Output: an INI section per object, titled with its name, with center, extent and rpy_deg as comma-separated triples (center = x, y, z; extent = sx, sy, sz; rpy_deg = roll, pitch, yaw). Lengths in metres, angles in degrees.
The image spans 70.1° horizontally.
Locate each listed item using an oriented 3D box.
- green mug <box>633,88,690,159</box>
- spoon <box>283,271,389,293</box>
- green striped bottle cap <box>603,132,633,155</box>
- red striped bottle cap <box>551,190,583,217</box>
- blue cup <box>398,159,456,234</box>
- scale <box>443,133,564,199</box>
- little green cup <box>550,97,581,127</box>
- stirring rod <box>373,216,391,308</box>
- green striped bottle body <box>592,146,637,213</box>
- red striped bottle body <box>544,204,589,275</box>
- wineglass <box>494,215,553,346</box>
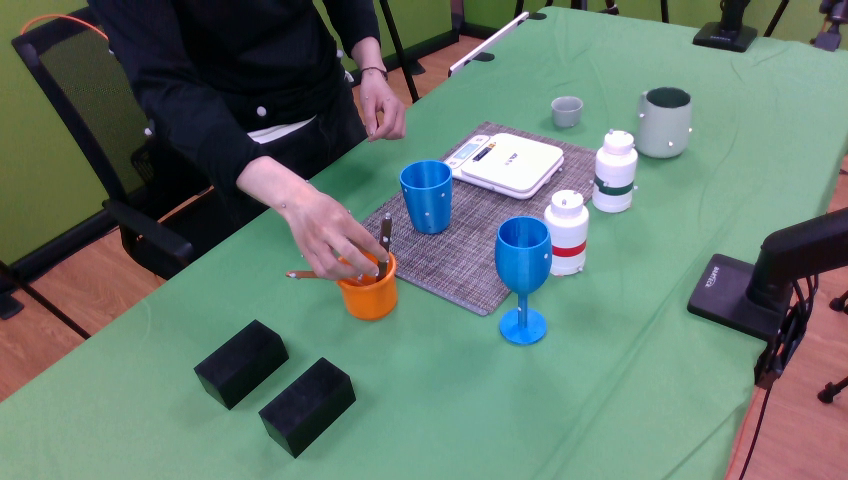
[green mug]
center = 0.423, -0.217, 1.099
extent = 0.093, 0.105, 0.124
rpy_deg = -16, 41, -9
[spoon]
center = -0.116, 0.054, 0.824
extent = 0.041, 0.195, 0.021
rpy_deg = 24, 93, 37
[green striped bottle cap]
center = 0.302, -0.149, 0.939
extent = 0.044, 0.020, 0.044
rpy_deg = -3, 40, 3
[red striped bottle cap]
center = 0.199, -0.052, 0.843
extent = 0.044, 0.018, 0.044
rpy_deg = -2, 41, 3
[blue cup]
center = 0.006, -0.065, 0.976
extent = 0.092, 0.100, 0.092
rpy_deg = -4, 39, 3
[scale]
center = 0.137, -0.142, 1.101
extent = 0.199, 0.032, 0.149
rpy_deg = 22, 48, 30
[little green cup]
center = 0.284, -0.255, 1.213
extent = 0.061, 0.039, 0.061
rpy_deg = -5, 41, 5
[stirring rod]
center = -0.057, 0.034, 0.806
extent = 0.014, 0.176, 0.005
rpy_deg = -18, 51, -25
[green striped bottle body]
center = 0.307, -0.108, 0.976
extent = 0.063, 0.120, 0.063
rpy_deg = -4, 41, 4
[red striped bottle body]
center = 0.206, -0.011, 0.877
extent = 0.063, 0.120, 0.062
rpy_deg = -5, 41, 4
[wineglass]
center = 0.127, 0.055, 0.770
extent = 0.074, 0.173, 0.073
rpy_deg = -4, 40, 4
